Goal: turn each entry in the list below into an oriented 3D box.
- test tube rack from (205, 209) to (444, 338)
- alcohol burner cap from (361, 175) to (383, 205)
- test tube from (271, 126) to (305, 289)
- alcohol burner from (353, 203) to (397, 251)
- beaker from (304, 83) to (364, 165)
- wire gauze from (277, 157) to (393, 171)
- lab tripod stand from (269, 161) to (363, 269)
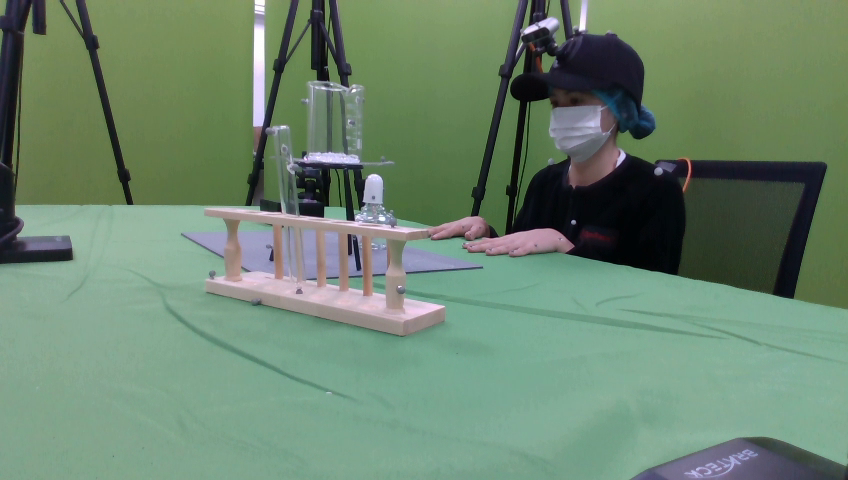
[{"bbox_3d":[-0.100,0.021,0.565,0.241,0.085,0.067,7,8,32],"label":"test tube rack"},{"bbox_3d":[-0.080,-0.078,0.944,0.034,0.048,0.034,5,7,0],"label":"alcohol burner cap"},{"bbox_3d":[-0.124,-0.028,0.554,0.017,0.150,0.017,-5,7,1],"label":"test tube"},{"bbox_3d":[-0.082,-0.043,0.950,0.078,0.119,0.078,1,8,0],"label":"alcohol burner"},{"bbox_3d":[-0.115,-0.148,0.779,0.074,0.100,0.083,-2,10,-30],"label":"beaker"},{"bbox_3d":[-0.122,-0.100,0.786,0.122,0.011,0.124,-5,14,-38],"label":"wire gauze"},{"bbox_3d":[-0.125,-0.036,0.794,0.148,0.131,0.148,5,7,0],"label":"lab tripod stand"}]
